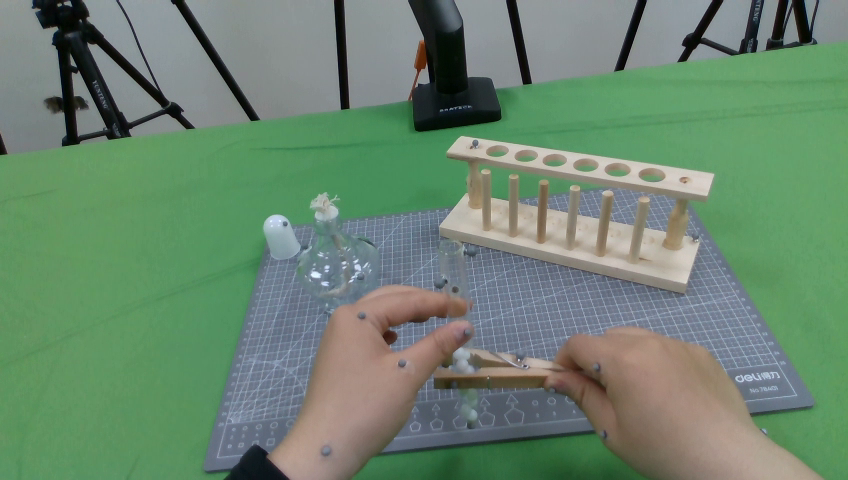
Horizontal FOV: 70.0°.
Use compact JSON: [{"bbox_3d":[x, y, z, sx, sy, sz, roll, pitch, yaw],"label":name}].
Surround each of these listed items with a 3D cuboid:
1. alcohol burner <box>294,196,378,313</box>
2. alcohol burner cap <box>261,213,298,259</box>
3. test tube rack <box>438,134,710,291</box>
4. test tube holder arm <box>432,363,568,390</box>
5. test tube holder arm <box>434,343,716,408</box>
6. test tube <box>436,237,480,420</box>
[{"bbox_3d":[-0.082,0.008,0.545,0.078,0.120,0.077,-4,40,4],"label":"alcohol burner"},{"bbox_3d":[-0.153,-0.007,0.635,0.034,0.048,0.033,-4,40,4],"label":"alcohol burner cap"},{"bbox_3d":[0.130,-0.032,0.576,0.241,0.086,0.066,14,44,26],"label":"test tube rack"},{"bbox_3d":[0.049,0.089,0.396,0.088,0.015,0.010,-3,44,1],"label":"test tube holder arm"},{"bbox_3d":[0.094,0.088,0.394,0.178,0.015,0.013,6,46,10],"label":"test tube holder arm"},{"bbox_3d":[0.023,0.063,0.389,0.017,0.151,0.017,-6,34,4],"label":"test tube"}]
